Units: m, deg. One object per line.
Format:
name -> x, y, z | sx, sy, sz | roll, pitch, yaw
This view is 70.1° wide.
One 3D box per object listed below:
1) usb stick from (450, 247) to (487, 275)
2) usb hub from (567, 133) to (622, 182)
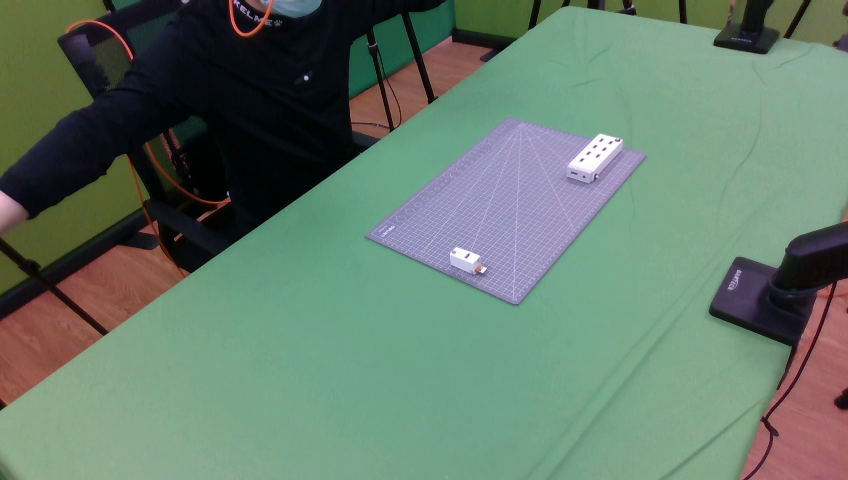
usb stick -> 0.069, 0.033, 0.912 | 0.059, 0.027, 0.021 | 24, 47, 28
usb hub -> 0.309, -0.149, 1.091 | 0.049, 0.025, 0.125 | 24, 50, 31
